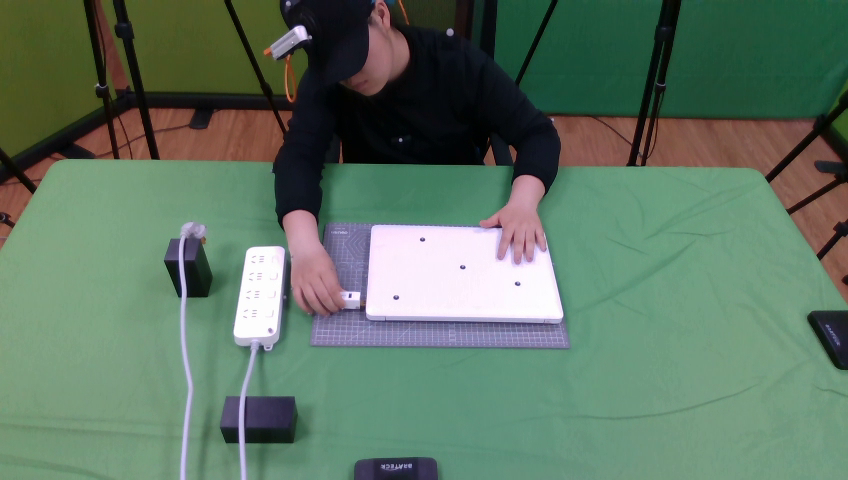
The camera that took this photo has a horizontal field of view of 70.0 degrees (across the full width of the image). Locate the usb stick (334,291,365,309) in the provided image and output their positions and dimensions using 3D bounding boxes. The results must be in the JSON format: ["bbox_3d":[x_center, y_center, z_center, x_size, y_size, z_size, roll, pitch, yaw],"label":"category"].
[{"bbox_3d":[-0.129,0.106,1.069,0.059,0.027,0.021,6,43,-7],"label":"usb stick"}]

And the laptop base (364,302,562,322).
[{"bbox_3d":[0.070,0.063,1.145,0.354,0.023,0.234,1,43,-3],"label":"laptop base"}]

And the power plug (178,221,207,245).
[{"bbox_3d":[-0.413,-0.002,1.070,0.035,0.053,0.072,-1,42,24],"label":"power plug"}]

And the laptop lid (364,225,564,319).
[{"bbox_3d":[0.070,0.053,1.138,0.357,0.013,0.240,3,44,-2],"label":"laptop lid"}]

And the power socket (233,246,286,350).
[{"bbox_3d":[-0.290,0.094,1.078,0.072,0.033,0.225,-2,46,-5],"label":"power socket"}]
